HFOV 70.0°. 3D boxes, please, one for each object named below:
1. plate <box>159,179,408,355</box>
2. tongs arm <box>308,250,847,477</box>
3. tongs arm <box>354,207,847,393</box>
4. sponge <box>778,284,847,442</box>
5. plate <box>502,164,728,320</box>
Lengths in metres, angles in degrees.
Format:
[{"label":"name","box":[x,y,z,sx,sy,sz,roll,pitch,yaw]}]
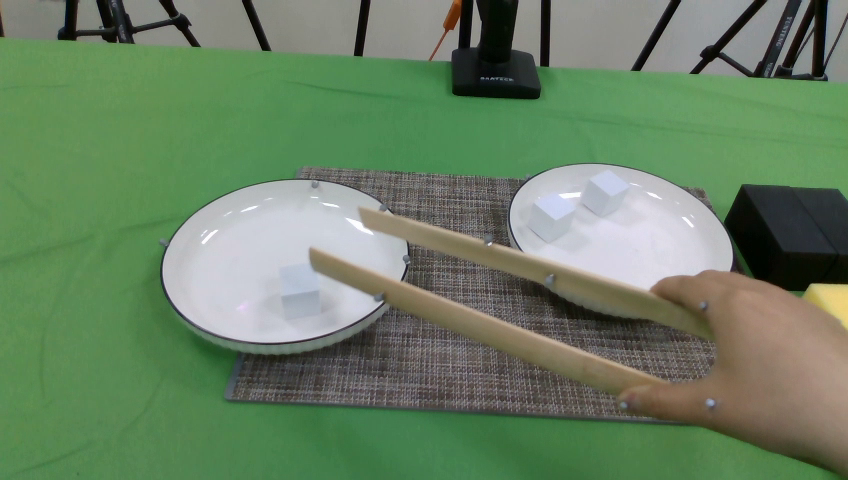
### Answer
[{"label":"plate","box":[-0.118,0.022,0.533,0.209,0.038,0.207,3,42,-2]},{"label":"tongs arm","box":[0.083,0.065,0.376,0.385,0.028,0.028,17,42,25]},{"label":"tongs arm","box":[0.102,0.044,0.398,0.382,0.027,0.050,16,45,24]},{"label":"sponge","box":[0.374,0.127,0.447,0.118,0.061,0.204,0,43,-4]},{"label":"plate","box":[0.177,0.002,0.580,0.208,0.039,0.205,3,42,-2]}]
